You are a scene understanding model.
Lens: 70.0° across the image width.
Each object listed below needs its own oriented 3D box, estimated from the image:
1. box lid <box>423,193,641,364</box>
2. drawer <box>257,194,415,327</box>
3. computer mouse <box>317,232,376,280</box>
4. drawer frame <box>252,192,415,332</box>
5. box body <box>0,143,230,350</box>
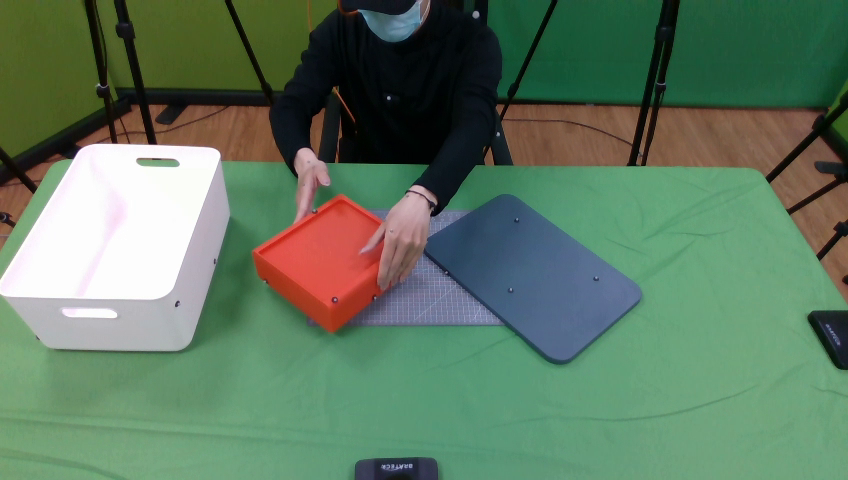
[{"bbox_3d":[0.202,0.054,1.168,0.263,0.015,0.369,-31,56,-30],"label":"box lid"},{"bbox_3d":[-0.156,0.031,1.094,0.193,0.073,0.211,33,52,25],"label":"drawer"},{"bbox_3d":[-0.146,0.023,1.126,0.063,0.041,0.116,-35,51,-27],"label":"computer mouse"},{"bbox_3d":[-0.158,0.032,1.091,0.201,0.083,0.213,32,53,26],"label":"drawer frame"},{"bbox_3d":[-0.502,0.007,1.055,0.254,0.161,0.361,1,46,-3],"label":"box body"}]
